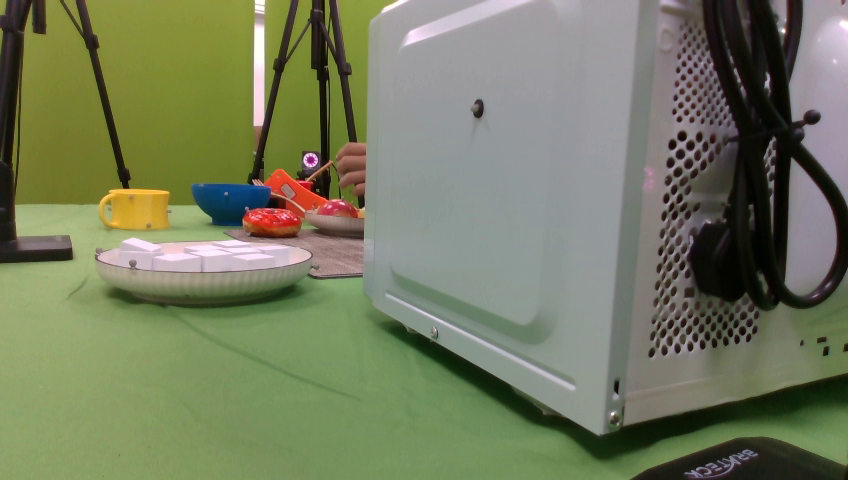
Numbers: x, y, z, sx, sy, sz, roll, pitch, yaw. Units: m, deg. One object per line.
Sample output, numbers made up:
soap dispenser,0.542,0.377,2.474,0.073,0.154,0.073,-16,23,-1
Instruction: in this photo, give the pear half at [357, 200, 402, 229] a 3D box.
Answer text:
pear half,-0.075,-0.046,1.132,0.076,0.056,0.110,12,6,30

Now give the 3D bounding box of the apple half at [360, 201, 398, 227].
apple half,-0.087,-0.059,1.191,0.081,0.033,0.081,8,31,-5

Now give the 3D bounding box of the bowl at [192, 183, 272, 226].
bowl,-0.381,-0.071,1.202,0.151,0.077,0.151,3,7,0

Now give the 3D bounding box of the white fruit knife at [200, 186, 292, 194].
white fruit knife,-0.399,-0.111,1.368,0.208,0.016,0.027,-4,-19,-30

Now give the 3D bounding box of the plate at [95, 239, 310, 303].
plate,-0.224,0.031,0.629,0.208,0.039,0.207,2,7,0

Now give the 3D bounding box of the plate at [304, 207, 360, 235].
plate,-0.123,-0.037,1.149,0.209,0.038,0.209,2,7,0

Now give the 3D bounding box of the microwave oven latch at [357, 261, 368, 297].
microwave oven latch,-0.019,0.033,0.531,0.079,0.029,0.030,-1,7,-27

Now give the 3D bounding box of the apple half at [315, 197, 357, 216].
apple half,-0.162,-0.052,1.121,0.081,0.053,0.074,4,7,-14

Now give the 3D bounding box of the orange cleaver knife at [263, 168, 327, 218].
orange cleaver knife,-0.263,-0.087,1.353,0.211,0.077,0.012,28,13,-1

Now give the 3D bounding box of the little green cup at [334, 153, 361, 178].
little green cup,-0.117,-0.124,1.001,0.061,0.038,0.061,-5,8,1

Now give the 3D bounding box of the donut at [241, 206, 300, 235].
donut,-0.263,-0.032,1.039,0.099,0.048,0.099,4,10,0

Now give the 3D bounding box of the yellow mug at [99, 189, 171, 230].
yellow mug,-0.519,-0.055,1.080,0.099,0.064,0.131,7,10,26

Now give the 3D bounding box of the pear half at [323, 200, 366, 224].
pear half,-0.155,-0.059,1.197,0.088,0.031,0.070,14,32,-4

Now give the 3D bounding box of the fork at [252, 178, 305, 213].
fork,-0.295,-0.084,1.292,0.206,0.018,0.028,29,11,25

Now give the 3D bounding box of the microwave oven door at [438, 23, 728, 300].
microwave oven door,0.181,-0.072,0.621,0.358,0.243,0.039,-2,8,-29

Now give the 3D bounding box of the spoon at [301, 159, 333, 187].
spoon,-0.316,-0.159,1.639,0.194,0.022,0.041,-49,33,-20

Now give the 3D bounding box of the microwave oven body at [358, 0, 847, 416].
microwave oven body,0.211,-0.047,0.474,0.444,0.260,0.324,-1,7,-28
